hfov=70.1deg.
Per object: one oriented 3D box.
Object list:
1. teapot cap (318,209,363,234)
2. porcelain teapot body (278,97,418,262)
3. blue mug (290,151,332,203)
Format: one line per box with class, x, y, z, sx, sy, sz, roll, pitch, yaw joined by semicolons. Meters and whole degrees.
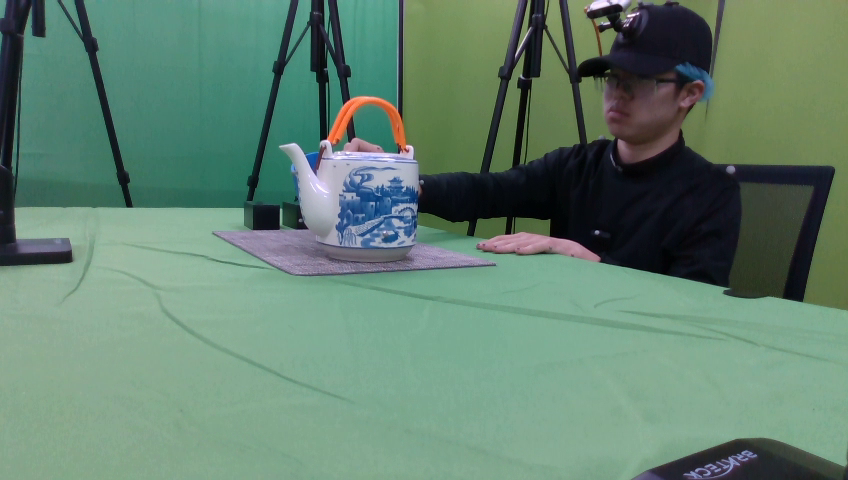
teapot cap;-0.158;-0.036;1.144;0.085;0.044;0.085;0;7;0
porcelain teapot body;-0.104;-0.086;0.842;0.206;0.225;0.144;-4;10;-38
blue mug;-0.157;-0.089;1.002;0.082;0.106;0.117;25;47;33
